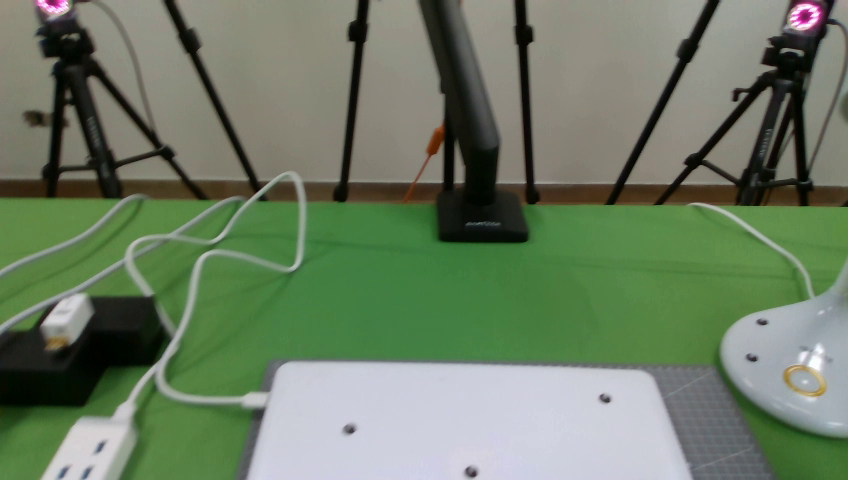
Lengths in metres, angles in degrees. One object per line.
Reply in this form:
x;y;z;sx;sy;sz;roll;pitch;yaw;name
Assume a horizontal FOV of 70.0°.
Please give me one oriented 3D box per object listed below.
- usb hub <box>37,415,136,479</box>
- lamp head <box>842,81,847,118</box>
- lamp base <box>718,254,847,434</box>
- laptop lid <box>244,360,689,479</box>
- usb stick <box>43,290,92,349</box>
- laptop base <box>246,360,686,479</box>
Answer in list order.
-0.274;0.193;0.471;0.049;0.025;0.124;1;34;1;usb hub
0.321;-0.125;0.354;0.112;0.113;0.122;16;77;20;lamp head
0.383;0.056;0.565;0.159;0.181;0.179;19;36;24;lamp base
0.035;0.186;0.481;0.357;0.013;0.239;2;37;1;laptop lid
-0.327;0.074;0.551;0.021;0.027;0.058;2;37;-3;usb stick
0.035;0.194;0.490;0.354;0.023;0.233;1;38;-1;laptop base
